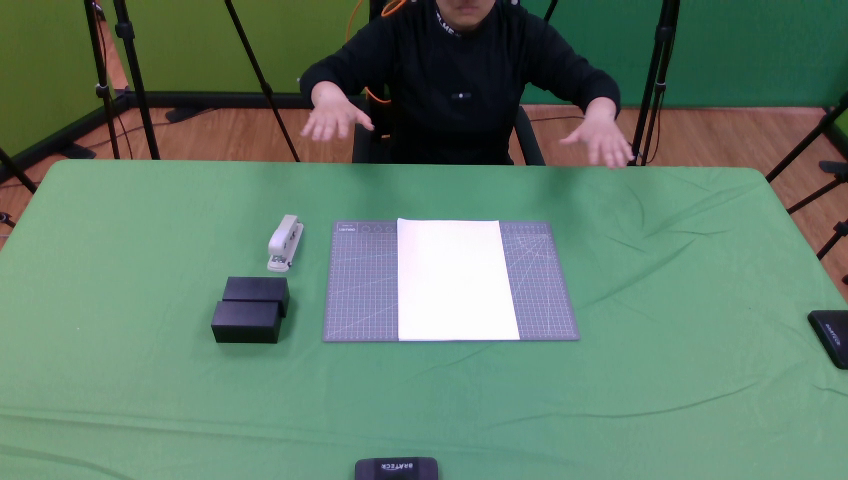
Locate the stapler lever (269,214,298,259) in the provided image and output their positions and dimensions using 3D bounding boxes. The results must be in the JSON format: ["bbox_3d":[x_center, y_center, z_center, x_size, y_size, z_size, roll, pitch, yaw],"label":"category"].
[{"bbox_3d":[-0.268,-0.014,1.153,0.027,0.040,0.117,8,44,0],"label":"stapler lever"}]

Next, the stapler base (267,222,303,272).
[{"bbox_3d":[-0.269,0.005,1.170,0.041,0.024,0.130,8,44,0],"label":"stapler base"}]
